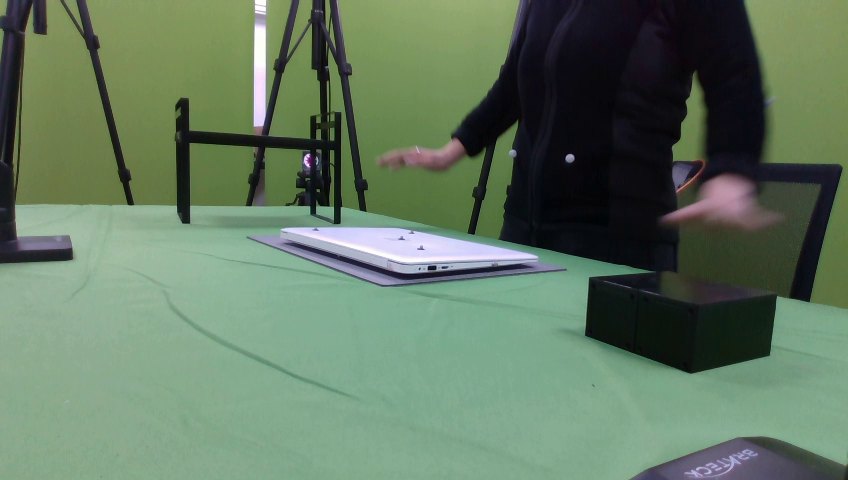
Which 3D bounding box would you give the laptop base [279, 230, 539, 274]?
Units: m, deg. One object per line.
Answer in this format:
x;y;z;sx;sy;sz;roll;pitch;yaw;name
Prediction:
-0.037;0.014;0.895;0.237;0.023;0.352;1;7;-38;laptop base

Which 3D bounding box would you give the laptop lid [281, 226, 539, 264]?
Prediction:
-0.034;0.002;0.895;0.243;0.013;0.355;0;8;-36;laptop lid
